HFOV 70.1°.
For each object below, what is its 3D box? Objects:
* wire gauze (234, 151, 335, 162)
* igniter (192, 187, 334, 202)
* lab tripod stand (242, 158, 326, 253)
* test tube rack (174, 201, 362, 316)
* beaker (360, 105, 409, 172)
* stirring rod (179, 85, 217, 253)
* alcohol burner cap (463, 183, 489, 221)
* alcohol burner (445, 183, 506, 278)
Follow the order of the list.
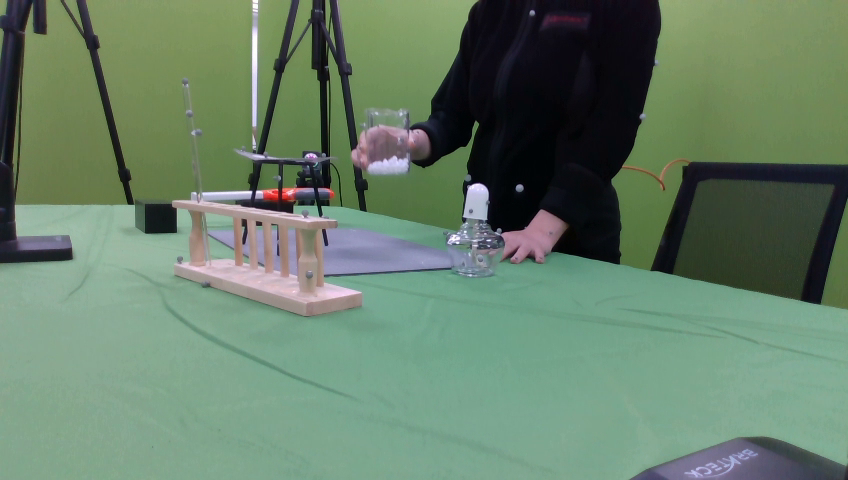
[{"bbox_3d":[-0.204,-0.121,0.887,0.122,0.011,0.124,0,8,-32],"label":"wire gauze"},{"bbox_3d":[-0.316,-0.090,1.213,0.278,0.025,0.057,-5,13,-31],"label":"igniter"},{"bbox_3d":[-0.207,-0.054,0.895,0.148,0.131,0.148,3,5,0],"label":"lab tripod stand"},{"bbox_3d":[-0.169,0.010,0.622,0.241,0.085,0.067,9,9,41],"label":"test tube rack"},{"bbox_3d":[-0.058,-0.157,0.939,0.074,0.100,0.083,-5,8,-25],"label":"beaker"},{"bbox_3d":[-0.236,-0.073,0.634,0.006,0.176,0.014,0,10,42],"label":"stirring rod"},{"bbox_3d":[0.067,-0.048,0.765,0.034,0.048,0.034,5,5,0],"label":"alcohol burner cap"},{"bbox_3d":[0.066,-0.013,0.770,0.078,0.119,0.078,0,7,0],"label":"alcohol burner"}]
